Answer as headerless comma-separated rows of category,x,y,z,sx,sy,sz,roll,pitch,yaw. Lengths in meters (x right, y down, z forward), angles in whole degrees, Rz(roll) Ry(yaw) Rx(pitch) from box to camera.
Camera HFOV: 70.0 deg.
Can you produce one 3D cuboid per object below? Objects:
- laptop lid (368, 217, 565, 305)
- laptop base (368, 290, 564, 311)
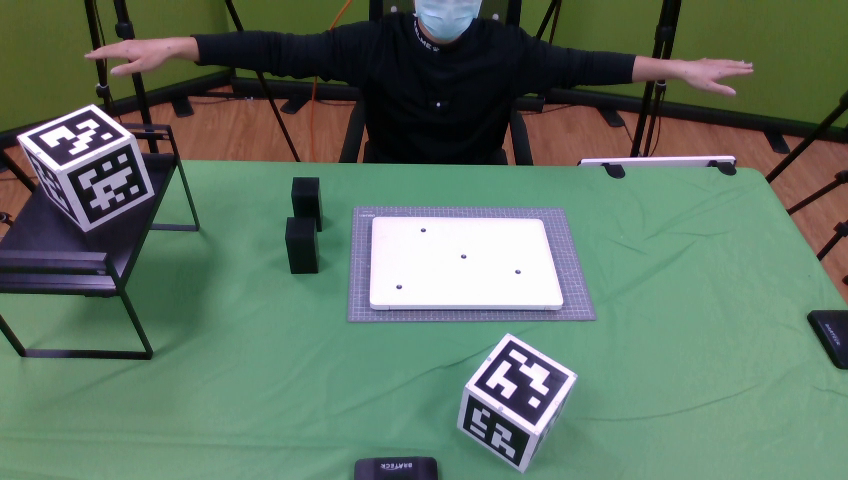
laptop lid,0.074,0.034,1.153,0.357,0.013,0.240,2,44,-2
laptop base,0.074,0.044,1.160,0.354,0.023,0.234,0,43,-3
